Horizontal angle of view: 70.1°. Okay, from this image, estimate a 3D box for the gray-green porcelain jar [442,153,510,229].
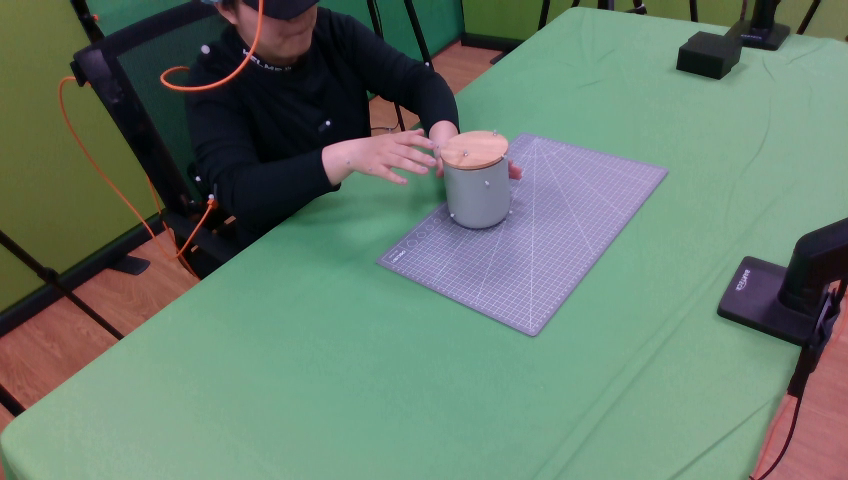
[{"bbox_3d":[0.088,-0.090,0.988,0.106,0.127,0.105,-5,40,5],"label":"gray-green porcelain jar"}]

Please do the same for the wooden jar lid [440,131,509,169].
[{"bbox_3d":[0.079,-0.137,0.948,0.108,0.021,0.108,-5,38,5],"label":"wooden jar lid"}]
